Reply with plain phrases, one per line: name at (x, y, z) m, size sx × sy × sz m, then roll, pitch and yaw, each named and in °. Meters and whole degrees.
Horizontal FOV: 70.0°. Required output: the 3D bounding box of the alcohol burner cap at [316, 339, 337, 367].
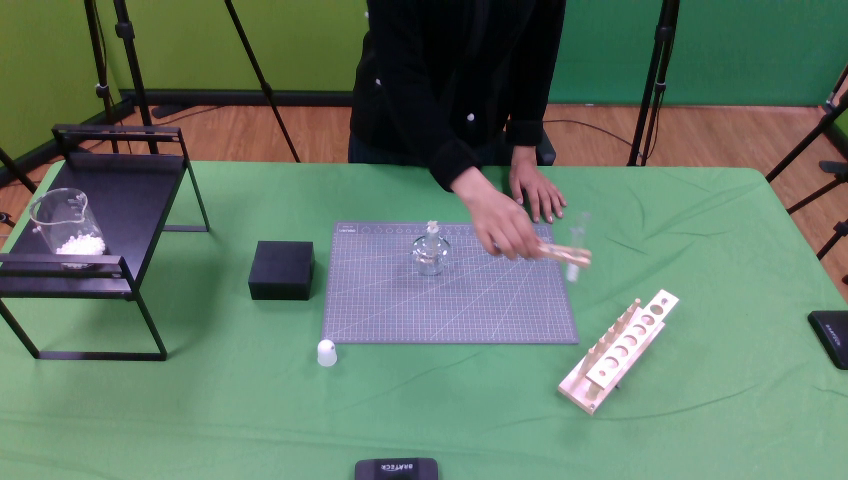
alcohol burner cap at (-0.161, 0.182, 0.995) m, size 0.034 × 0.048 × 0.033 m, roll 2°, pitch 47°, yaw -1°

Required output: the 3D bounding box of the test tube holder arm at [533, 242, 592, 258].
test tube holder arm at (0.209, 0.016, 0.917) m, size 0.088 × 0.015 × 0.010 m, roll 9°, pitch 50°, yaw 10°

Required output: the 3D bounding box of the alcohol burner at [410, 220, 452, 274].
alcohol burner at (0.013, 0.008, 1.120) m, size 0.078 × 0.120 × 0.077 m, roll 1°, pitch 47°, yaw -1°

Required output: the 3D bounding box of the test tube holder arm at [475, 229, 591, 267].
test tube holder arm at (0.164, 0.011, 0.924) m, size 0.178 × 0.015 × 0.013 m, roll 14°, pitch 50°, yaw 14°

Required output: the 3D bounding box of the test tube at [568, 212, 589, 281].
test tube at (0.227, 0.014, 0.898) m, size 0.017 × 0.151 × 0.017 m, roll -3°, pitch 50°, yaw 4°

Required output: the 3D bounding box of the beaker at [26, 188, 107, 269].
beaker at (-0.504, -0.013, 0.868) m, size 0.084 × 0.101 × 0.074 m, roll 23°, pitch 49°, yaw 17°

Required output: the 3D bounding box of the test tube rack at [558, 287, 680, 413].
test tube rack at (0.327, 0.170, 1.009) m, size 0.066 × 0.085 × 0.242 m, roll 36°, pitch 54°, yaw 26°
